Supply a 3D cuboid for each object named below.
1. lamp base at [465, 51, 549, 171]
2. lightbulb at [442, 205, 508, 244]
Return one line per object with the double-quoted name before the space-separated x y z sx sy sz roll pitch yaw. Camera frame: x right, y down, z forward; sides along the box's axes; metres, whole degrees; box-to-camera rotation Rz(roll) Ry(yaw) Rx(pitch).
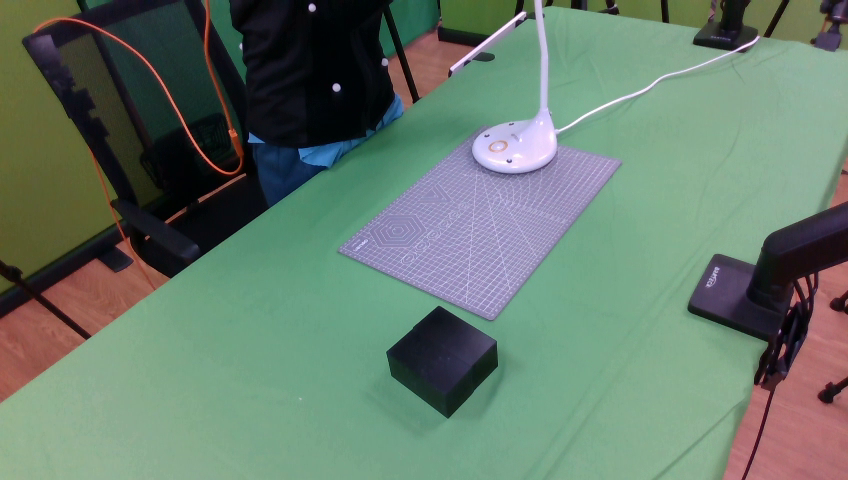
"lamp base" 0.159 -0.243 1.103 0.180 0.181 0.159 -32 46 -29
"lightbulb" 0.080 -0.019 0.955 0.107 0.059 0.059 18 44 5
